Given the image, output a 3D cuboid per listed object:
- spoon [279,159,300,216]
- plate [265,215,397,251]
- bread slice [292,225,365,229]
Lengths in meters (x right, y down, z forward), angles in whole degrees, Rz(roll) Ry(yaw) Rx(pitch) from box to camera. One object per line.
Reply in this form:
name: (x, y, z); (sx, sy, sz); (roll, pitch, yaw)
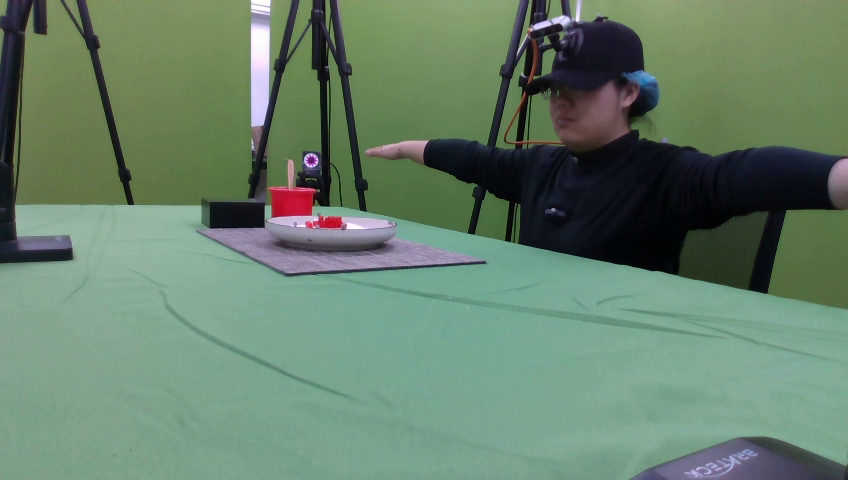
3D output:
spoon: (-0.282, -0.108, 1.276); (0.042, 0.021, 0.193); (-1, 52, -10)
plate: (-0.147, -0.012, 0.963); (0.209, 0.038, 0.209); (3, 7, 0)
bread slice: (-0.154, -0.012, 0.973); (0.132, 0.019, 0.104); (-1, 7, -31)
